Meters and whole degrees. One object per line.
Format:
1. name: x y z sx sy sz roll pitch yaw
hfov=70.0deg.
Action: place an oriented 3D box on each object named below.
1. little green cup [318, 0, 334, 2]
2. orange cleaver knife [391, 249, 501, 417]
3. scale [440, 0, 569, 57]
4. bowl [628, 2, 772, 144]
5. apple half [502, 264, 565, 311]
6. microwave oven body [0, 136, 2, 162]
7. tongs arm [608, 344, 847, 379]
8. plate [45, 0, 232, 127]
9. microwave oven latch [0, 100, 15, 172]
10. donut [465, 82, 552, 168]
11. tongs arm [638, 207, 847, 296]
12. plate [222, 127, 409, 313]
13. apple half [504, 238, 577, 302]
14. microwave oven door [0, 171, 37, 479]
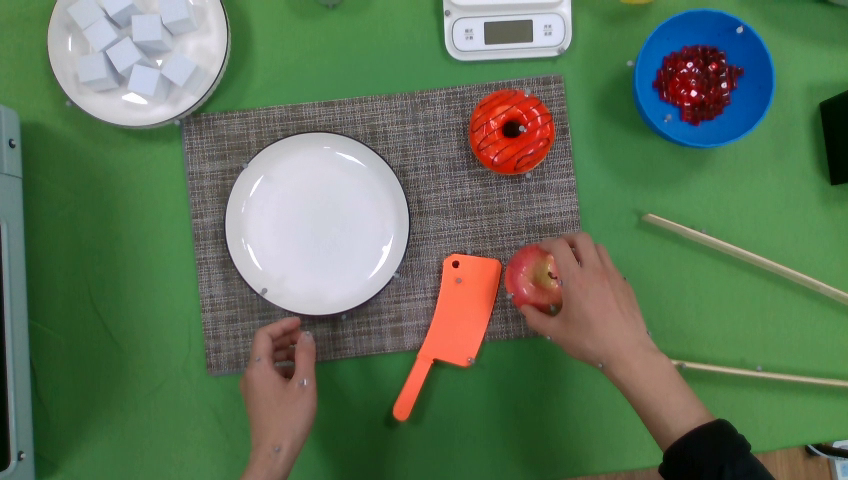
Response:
1. little green cup: -0.117 -0.309 0.703 0.061 0.038 0.061 0 87 1
2. orange cleaver knife: 0.026 0.107 0.691 0.077 0.012 0.211 22 85 -5
3. scale: 0.092 -0.318 0.706 0.149 0.031 0.200 -3 88 0
4. bowl: 0.294 -0.176 0.678 0.151 0.077 0.151 0 88 0
5. apple half: 0.113 0.059 0.665 0.081 0.081 0.033 33 83 2
6. microwave oven body: -0.614 0.065 0.574 0.326 0.260 0.441 -4 88 -1
7. tongs arm: 0.404 0.128 0.686 0.385 0.026 0.050 9 84 0
8. plate: -0.323 -0.231 0.700 0.208 0.039 0.207 0 88 0
9. microwave oven latch: -0.478 -0.117 0.677 0.030 0.029 0.079 -2 88 -1
10. donut: 0.095 -0.130 0.689 0.099 0.048 0.099 0 88 2
11. tongs arm: 0.425 0.044 0.692 0.387 0.028 0.028 23 81 1
12. plate: -0.120 -0.023 0.688 0.209 0.038 0.209 0 88 0
13. apple half: 0.134 0.027 0.669 0.080 0.075 0.053 32 83 7
14. microwave oven door: -0.465 0.096 0.568 0.039 0.244 0.355 -5 87 0
